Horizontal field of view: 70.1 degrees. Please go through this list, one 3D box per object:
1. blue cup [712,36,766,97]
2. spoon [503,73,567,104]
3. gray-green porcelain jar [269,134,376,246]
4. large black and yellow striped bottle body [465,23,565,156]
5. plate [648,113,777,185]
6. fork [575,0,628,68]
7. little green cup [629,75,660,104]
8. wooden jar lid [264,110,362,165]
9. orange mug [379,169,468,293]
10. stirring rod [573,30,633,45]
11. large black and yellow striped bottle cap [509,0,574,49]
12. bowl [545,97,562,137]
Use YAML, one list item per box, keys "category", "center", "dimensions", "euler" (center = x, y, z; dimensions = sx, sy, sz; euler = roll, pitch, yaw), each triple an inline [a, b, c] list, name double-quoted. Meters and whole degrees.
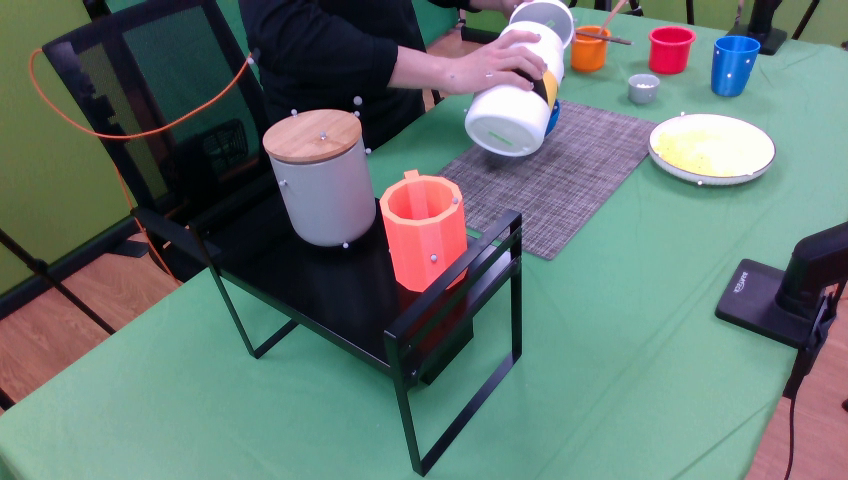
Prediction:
- category: "blue cup"
  center: [0.627, -0.350, 1.227]
  dimensions: [0.092, 0.100, 0.092]
  euler: [-4, 39, 4]
- category: "spoon"
  center: [0.250, -0.336, 1.332]
  dimensions: [0.194, 0.022, 0.041]
  euler: [-32, 32, -25]
- category: "gray-green porcelain jar"
  center: [-0.115, -0.064, 0.715]
  dimensions: [0.106, 0.127, 0.105]
  euler: [-4, 40, 4]
- category: "large black and yellow striped bottle body"
  center: [0.154, -0.245, 0.990]
  dimensions: [0.130, 0.131, 0.183]
  euler: [13, 73, 22]
- category: "plate"
  center: [0.506, -0.158, 1.073]
  dimensions: [0.209, 0.038, 0.208]
  euler: [-5, 40, 4]
- category: "fork"
  center: [0.413, -0.481, 1.377]
  dimensions: [0.207, 0.019, 0.028]
  euler: [-57, 43, 12]
- category: "little green cup"
  center: [0.457, -0.314, 1.260]
  dimensions: [0.061, 0.039, 0.061]
  euler: [-4, 40, 4]
- category: "wooden jar lid"
  center: [-0.122, -0.112, 0.673]
  dimensions: [0.108, 0.021, 0.108]
  euler: [-4, 37, 4]
- category: "orange mug"
  center: [-0.002, -0.019, 0.665]
  dimensions: [0.083, 0.101, 0.125]
  euler: [-12, 45, -4]
- category: "stirring rod"
  center: [0.381, -0.452, 1.345]
  dimensions: [0.174, 0.006, 0.014]
  euler: [25, 49, 33]
- category: "large black and yellow striped bottle cap"
  center: [0.211, -0.378, 1.089]
  dimensions: [0.115, 0.115, 0.018]
  euler: [3, 53, 12]
- category: "bowl"
  center: [0.187, -0.222, 1.161]
  dimensions: [0.151, 0.077, 0.150]
  euler: [-5, 40, 4]
